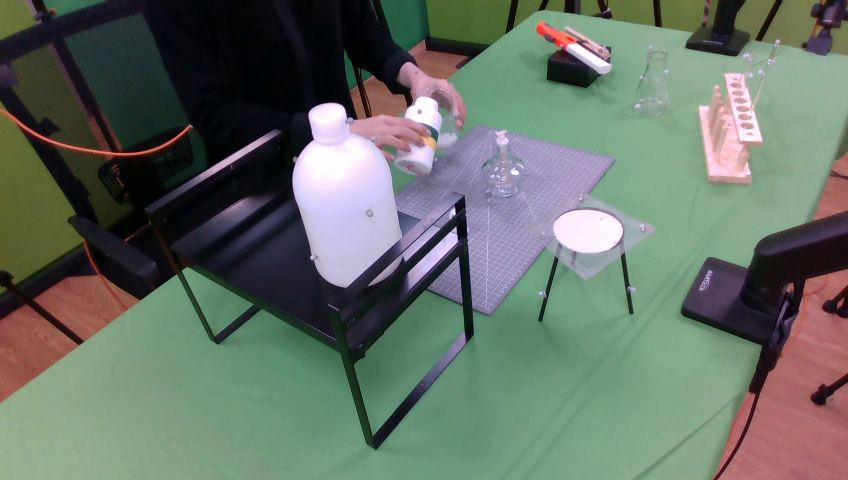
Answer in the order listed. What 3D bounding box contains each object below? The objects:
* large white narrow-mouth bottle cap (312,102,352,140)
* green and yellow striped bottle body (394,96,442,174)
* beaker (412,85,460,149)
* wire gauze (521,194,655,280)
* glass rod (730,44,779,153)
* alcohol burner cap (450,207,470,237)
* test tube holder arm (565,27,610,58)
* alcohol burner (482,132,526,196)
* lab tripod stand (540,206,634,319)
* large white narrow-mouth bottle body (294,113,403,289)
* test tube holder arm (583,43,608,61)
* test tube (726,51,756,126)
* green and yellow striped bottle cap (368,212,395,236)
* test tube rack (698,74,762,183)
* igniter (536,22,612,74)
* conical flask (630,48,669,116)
[{"bbox_3d":[-0.089,-0.114,0.579,0.038,0.024,0.037,-3,39,3],"label":"large white narrow-mouth bottle cap"},{"bbox_3d":[-0.007,-0.174,0.990,0.063,0.063,0.119,8,74,16],"label":"green and yellow striped bottle body"},{"bbox_3d":[0.024,-0.217,1.085,0.074,0.101,0.083,-7,67,8],"label":"beaker"},{"bbox_3d":[0.207,-0.012,0.772,0.122,0.011,0.124,-28,44,-20],"label":"wire gauze"},{"bbox_3d":[0.555,-0.234,1.020,0.008,0.200,0.008,2,40,-1],"label":"glass rod"},{"bbox_3d":[0.057,-0.032,0.987,0.034,0.048,0.033,-4,41,4],"label":"alcohol burner cap"},{"bbox_3d":[0.369,-0.450,1.373,0.013,0.015,0.177,-39,41,10],"label":"test tube holder arm"},{"bbox_3d":[0.137,-0.136,1.042,0.078,0.119,0.077,-4,43,4],"label":"alcohol burner"},{"bbox_3d":[0.218,0.034,0.821,0.148,0.132,0.147,-4,42,4],"label":"lab tripod stand"},{"bbox_3d":[-0.082,-0.047,0.634,0.102,0.195,0.101,-4,39,3],"label":"large white narrow-mouth bottle body"},{"bbox_3d":[0.379,-0.420,1.341,0.010,0.015,0.087,-39,41,10],"label":"test tube holder arm"},{"bbox_3d":[0.568,-0.268,1.086,0.017,0.151,0.017,-4,46,4],"label":"test tube"},{"bbox_3d":[-0.071,-0.028,1.021,0.045,0.020,0.045,-5,41,4],"label":"green and yellow striped bottle cap"},{"bbox_3d":[0.547,-0.208,1.095,0.066,0.085,0.242,5,42,15],"label":"test tube rack"},{"bbox_3d":[0.330,-0.439,1.366,0.057,0.025,0.274,-11,41,-20],"label":"igniter"},{"bbox_3d":[0.456,-0.317,1.205,0.075,0.122,0.075,-4,41,4],"label":"conical flask"}]
